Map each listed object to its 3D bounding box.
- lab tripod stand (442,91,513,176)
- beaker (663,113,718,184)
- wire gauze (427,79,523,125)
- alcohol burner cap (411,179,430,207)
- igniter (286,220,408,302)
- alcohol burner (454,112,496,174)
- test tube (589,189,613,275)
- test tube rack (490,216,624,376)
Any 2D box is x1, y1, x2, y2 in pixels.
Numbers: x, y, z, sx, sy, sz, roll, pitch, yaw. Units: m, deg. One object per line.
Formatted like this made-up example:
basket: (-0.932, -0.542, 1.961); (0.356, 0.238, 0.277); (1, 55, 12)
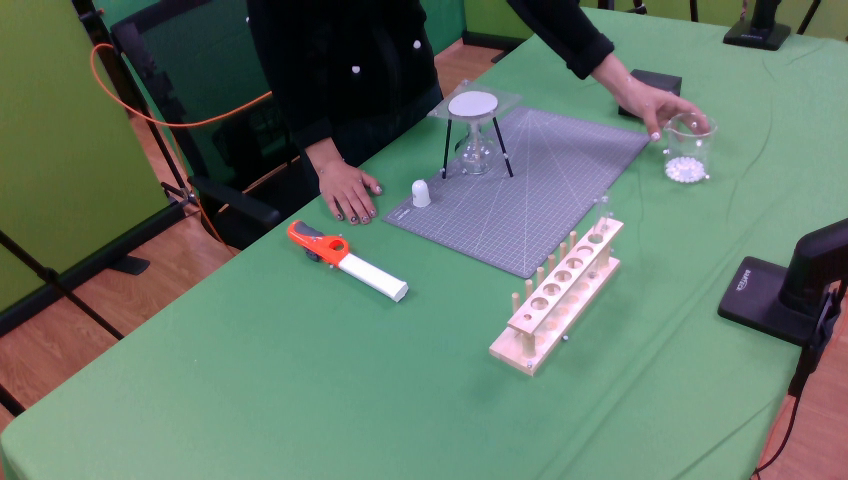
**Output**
lab tripod stand: (0.096, -0.190, 1.096); (0.148, 0.132, 0.147); (-4, 40, 4)
beaker: (0.442, -0.151, 1.018); (0.084, 0.101, 0.074); (-1, 40, 11)
wire gauze: (0.088, -0.239, 1.050); (0.120, 0.011, 0.125); (22, 50, 30)
alcohol burner cap: (-0.008, -0.085, 1.063); (0.034, 0.048, 0.033); (-5, 39, 5)
igniter: (-0.133, 0.028, 0.969); (0.274, 0.025, 0.057); (26, 61, 35)
alcohol burner: (0.092, -0.181, 1.102); (0.078, 0.119, 0.077); (-5, 42, 5)
test tube: (0.238, -0.006, 0.818); (0.017, 0.151, 0.017); (-3, 43, 4)
test tube rack: (0.184, 0.064, 0.822); (0.066, 0.085, 0.243); (24, 50, 33)
